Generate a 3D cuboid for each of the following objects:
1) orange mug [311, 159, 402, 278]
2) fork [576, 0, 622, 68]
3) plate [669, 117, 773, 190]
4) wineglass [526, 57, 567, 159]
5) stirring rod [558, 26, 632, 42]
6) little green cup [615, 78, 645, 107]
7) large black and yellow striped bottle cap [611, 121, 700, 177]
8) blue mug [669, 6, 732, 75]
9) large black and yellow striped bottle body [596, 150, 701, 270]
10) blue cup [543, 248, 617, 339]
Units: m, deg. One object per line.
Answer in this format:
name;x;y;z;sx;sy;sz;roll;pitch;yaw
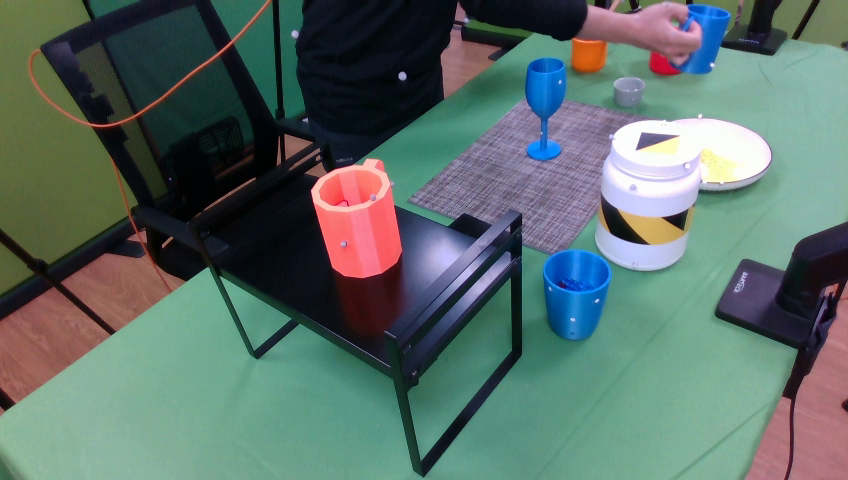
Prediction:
orange mug;-0.069;-0.034;0.694;0.083;0.101;0.126;5;46;16
fork;0.409;-0.484;1.381;0.028;0.019;0.207;37;101;46
plate;0.495;-0.148;1.063;0.209;0.038;0.208;-5;40;4
wineglass;0.221;-0.236;1.097;0.074;0.173;0.073;-5;41;4
stirring rod;0.381;-0.462;1.356;0.175;0.006;0.014;22;48;29
little green cup;0.426;-0.306;1.257;0.061;0.039;0.061;-4;40;4
large black and yellow striped bottle cap;0.315;-0.126;0.823;0.115;0.019;0.114;-4;42;4
blue mug;0.503;-0.368;1.125;0.117;0.106;0.081;-23;45;-31
large black and yellow striped bottle body;0.323;-0.062;0.877;0.131;0.185;0.130;-4;40;4
blue cup;0.199;0.076;0.797;0.092;0.100;0.092;-4;39;4
